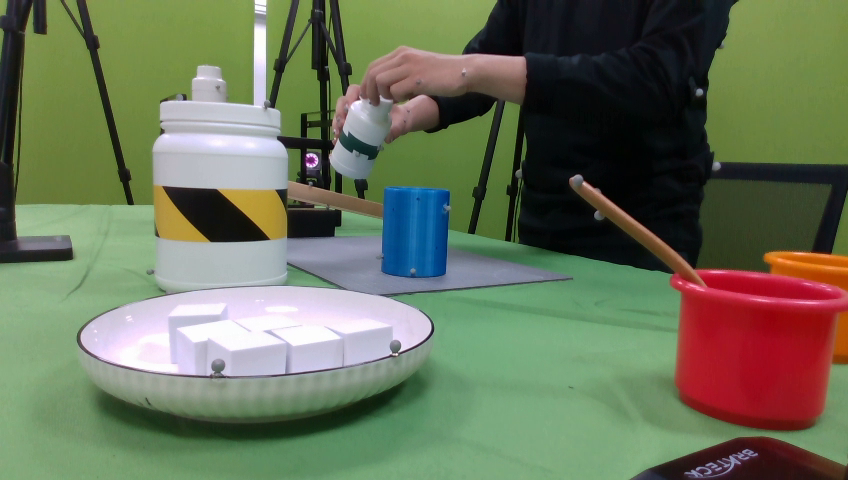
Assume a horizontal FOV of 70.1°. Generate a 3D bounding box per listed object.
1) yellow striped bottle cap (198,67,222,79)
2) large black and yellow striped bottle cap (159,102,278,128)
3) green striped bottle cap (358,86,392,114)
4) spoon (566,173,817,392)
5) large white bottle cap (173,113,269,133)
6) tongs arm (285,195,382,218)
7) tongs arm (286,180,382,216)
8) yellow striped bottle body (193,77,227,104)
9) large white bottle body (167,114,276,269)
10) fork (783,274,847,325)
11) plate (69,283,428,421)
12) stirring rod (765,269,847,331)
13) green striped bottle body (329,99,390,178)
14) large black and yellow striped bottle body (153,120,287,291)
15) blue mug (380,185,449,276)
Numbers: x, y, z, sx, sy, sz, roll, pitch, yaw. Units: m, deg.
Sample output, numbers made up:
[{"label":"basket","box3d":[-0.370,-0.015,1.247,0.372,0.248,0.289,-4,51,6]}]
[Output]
[{"label":"yellow striped bottle cap","box3d":[-0.411,-0.320,1.162,0.044,0.018,0.044,0,5,0]},{"label":"large black and yellow striped bottle cap","box3d":[-0.207,-0.125,0.614,0.115,0.019,0.115,2,6,0]},{"label":"green striped bottle cap","box3d":[-0.067,-0.195,0.838,0.044,0.020,0.044,23,28,-12]},{"label":"spoon","box3d":[0.161,0.024,0.370,0.193,0.021,0.042,47,18,3]},{"label":"large white bottle cap","box3d":[-0.254,-0.146,0.760,0.115,0.018,0.115,1,7,0]},{"label":"tongs arm","box3d":[-0.165,-0.074,1.216,0.389,0.027,0.028,11,-6,-24]},{"label":"tongs arm","box3d":[-0.122,-0.066,1.147,0.387,0.026,0.050,11,-2,-37]},{"label":"yellow striped bottle body","box3d":[-0.414,-0.268,1.169,0.063,0.120,0.063,2,7,0]},{"label":"large white bottle body","box3d":[-0.257,-0.063,0.772,0.131,0.184,0.130,2,7,0]},{"label":"fork","box3d":[0.332,0.018,0.443,0.028,0.018,0.207,-1,-36,-15]},{"label":"plate","box3d":[-0.102,0.066,0.381,0.208,0.039,0.207,2,7,0]},{"label":"stirring rod","box3d":[0.351,0.020,0.484,0.176,0.006,0.014,-40,-6,12]},{"label":"green striped bottle body","box3d":[-0.089,-0.154,0.867,0.063,0.119,0.063,19,35,-13]},{"label":"large black and yellow striped bottle body","box3d":[-0.208,-0.042,0.626,0.131,0.184,0.130,2,7,0]},{"label":"blue mug","box3d":[-0.019,-0.016,0.764,0.083,0.106,0.116,-1,8,-25]}]
